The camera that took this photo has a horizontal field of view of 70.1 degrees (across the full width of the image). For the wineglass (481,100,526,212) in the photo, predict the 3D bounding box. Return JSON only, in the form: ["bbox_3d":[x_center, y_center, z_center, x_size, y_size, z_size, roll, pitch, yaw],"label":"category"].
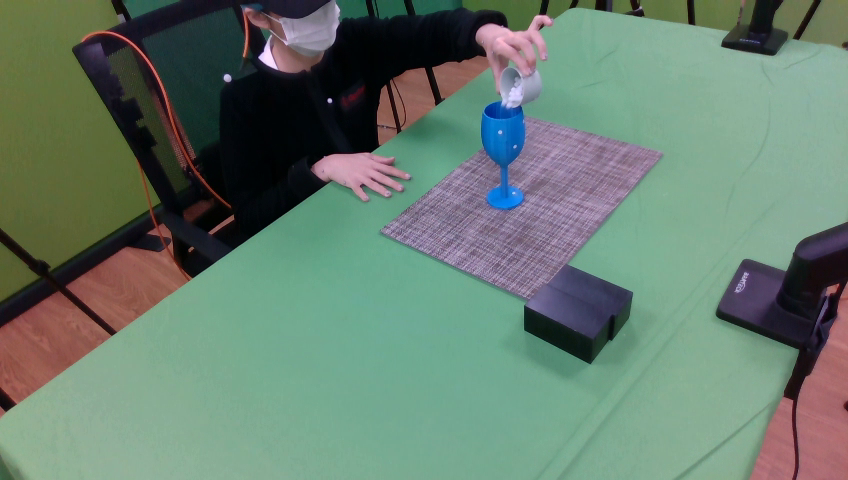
[{"bbox_3d":[0.132,-0.137,0.993,0.074,0.173,0.073,-5,40,4],"label":"wineglass"}]

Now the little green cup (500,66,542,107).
[{"bbox_3d":[0.149,-0.237,0.927,0.039,0.062,0.061,-18,40,-26],"label":"little green cup"}]
